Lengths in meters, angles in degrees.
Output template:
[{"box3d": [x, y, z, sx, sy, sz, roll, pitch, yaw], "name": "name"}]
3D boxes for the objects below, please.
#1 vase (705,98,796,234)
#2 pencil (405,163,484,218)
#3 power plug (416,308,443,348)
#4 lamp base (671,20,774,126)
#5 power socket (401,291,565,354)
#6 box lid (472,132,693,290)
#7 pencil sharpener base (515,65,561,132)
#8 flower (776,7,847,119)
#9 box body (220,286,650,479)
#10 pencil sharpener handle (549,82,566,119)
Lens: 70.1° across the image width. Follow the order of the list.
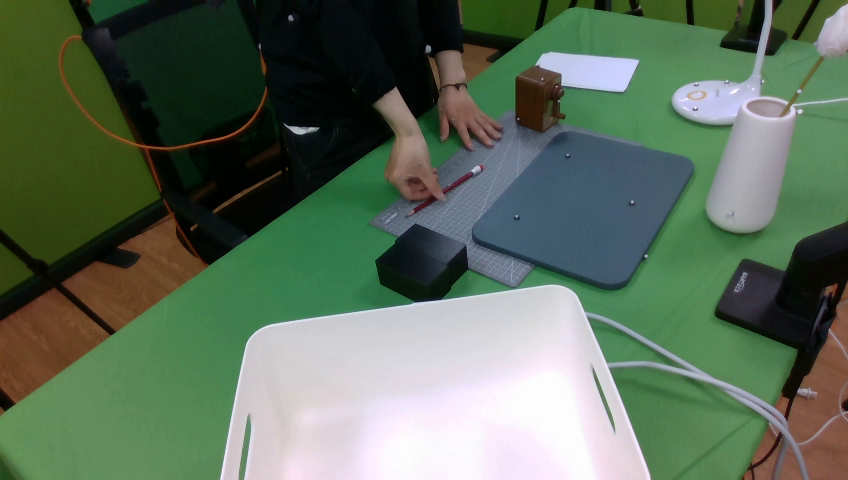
[{"box3d": [0.480, -0.104, 0.889, 0.098, 0.201, 0.097, -4, 42, 4], "name": "vase"}, {"box3d": [0.038, -0.089, 1.079, 0.195, 0.012, 0.012, -35, 48, -27], "name": "pencil"}, {"box3d": [0.005, 0.121, 0.787, 0.035, 0.053, 0.072, 2, 46, 8], "name": "power plug"}, {"box3d": [0.581, -0.332, 1.154, 0.179, 0.181, 0.160, 2, 42, 7], "name": "lamp base"}, {"box3d": [0.079, 0.111, 0.823, 0.227, 0.033, 0.072, -5, 41, 1], "name": "power socket"}, {"box3d": [0.273, -0.068, 1.020, 0.261, 0.015, 0.372, 20, 47, 28], "name": "box lid"}, {"box3d": [0.227, -0.278, 1.195, 0.076, 0.107, 0.061, 29, 52, 35], "name": "pencil sharpener base"}, {"box3d": [0.477, -0.156, 0.822, 0.038, 0.362, 0.044, 8, 57, 2], "name": "flower"}, {"box3d": [0.006, 0.210, 0.618, 0.364, 0.161, 0.252, -8, 40, -1], "name": "box body"}, {"box3d": [0.261, -0.266, 1.157, 0.030, 0.068, 0.036, 29, 45, 35], "name": "pencil sharpener handle"}]
